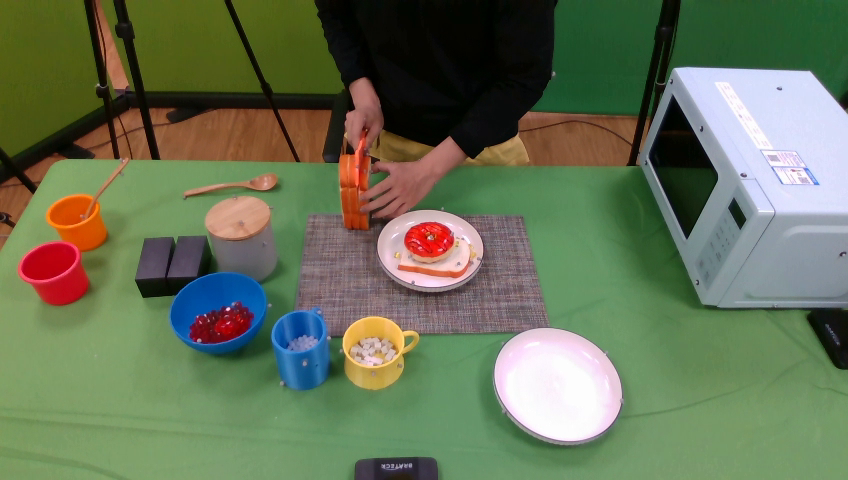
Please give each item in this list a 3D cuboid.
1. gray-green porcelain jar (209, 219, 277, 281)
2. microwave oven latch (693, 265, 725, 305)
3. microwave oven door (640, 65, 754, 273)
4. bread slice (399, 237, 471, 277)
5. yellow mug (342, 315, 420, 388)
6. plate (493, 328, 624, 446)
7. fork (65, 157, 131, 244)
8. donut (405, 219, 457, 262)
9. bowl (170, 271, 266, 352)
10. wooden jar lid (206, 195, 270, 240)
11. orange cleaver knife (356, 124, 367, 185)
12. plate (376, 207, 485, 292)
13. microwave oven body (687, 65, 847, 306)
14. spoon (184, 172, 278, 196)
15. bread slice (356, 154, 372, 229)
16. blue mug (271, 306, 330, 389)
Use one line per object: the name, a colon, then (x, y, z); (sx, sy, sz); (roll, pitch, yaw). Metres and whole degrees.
gray-green porcelain jar: (-0.323, 0.007, 1.092); (0.106, 0.127, 0.105); (2, 46, -2)
microwave oven latch: (0.523, 0.081, 1.115); (0.030, 0.029, 0.078); (2, 46, -1)
microwave oven door: (0.523, -0.147, 1.193); (0.039, 0.245, 0.353); (0, 47, -3)
bread slice: (0.026, 0.024, 1.160); (0.131, 0.019, 0.104); (7, 47, 7)
yellow mug: (-0.068, 0.177, 0.990); (0.131, 0.064, 0.099); (-15, 50, -19)
plate: (0.213, 0.236, 0.974); (0.208, 0.039, 0.206); (2, 46, -2)
fork: (-0.608, -0.074, 1.132); (0.207, 0.019, 0.028); (-52, 48, 10)
donut: (0.012, -0.001, 1.141); (0.099, 0.048, 0.098); (0, 44, 0)
bowl: (-0.334, 0.132, 1.006); (0.151, 0.077, 0.150); (2, 46, -2)
wooden jar lid: (-0.319, -0.036, 1.046); (0.108, 0.021, 0.107); (1, 44, 0)
orange cleaver knife: (-0.125, -0.173, 1.206); (0.012, 0.077, 0.210); (3, 29, -3)
plate: (0.012, 0.021, 1.159); (0.209, 0.038, 0.208); (2, 47, -2)
microwave oven body: (0.669, -0.111, 1.176); (0.326, 0.261, 0.439); (0, 46, -3)
spoon: (-0.405, -0.116, 1.275); (0.194, 0.022, 0.041); (-8, 66, -12)
bread slice: (-0.119, -0.102, 1.205); (0.018, 0.135, 0.106); (6, 49, -4)
blue mug: (-0.188, 0.163, 0.969); (0.082, 0.106, 0.116); (15, 47, 10)
